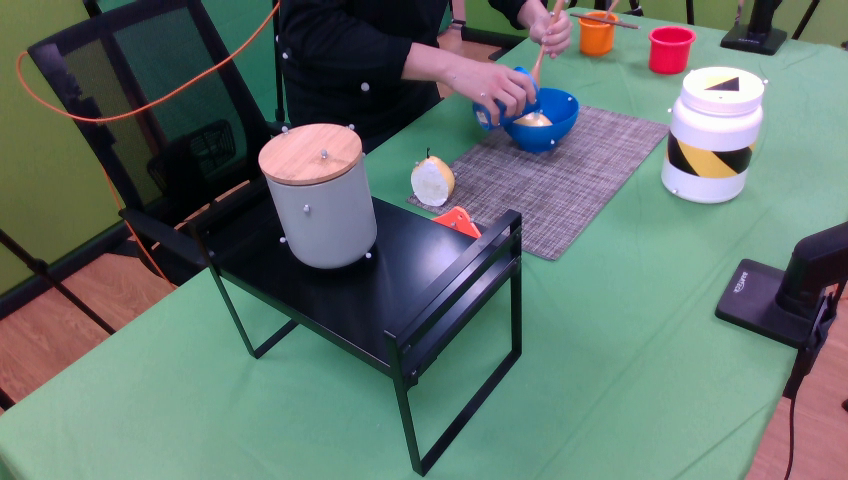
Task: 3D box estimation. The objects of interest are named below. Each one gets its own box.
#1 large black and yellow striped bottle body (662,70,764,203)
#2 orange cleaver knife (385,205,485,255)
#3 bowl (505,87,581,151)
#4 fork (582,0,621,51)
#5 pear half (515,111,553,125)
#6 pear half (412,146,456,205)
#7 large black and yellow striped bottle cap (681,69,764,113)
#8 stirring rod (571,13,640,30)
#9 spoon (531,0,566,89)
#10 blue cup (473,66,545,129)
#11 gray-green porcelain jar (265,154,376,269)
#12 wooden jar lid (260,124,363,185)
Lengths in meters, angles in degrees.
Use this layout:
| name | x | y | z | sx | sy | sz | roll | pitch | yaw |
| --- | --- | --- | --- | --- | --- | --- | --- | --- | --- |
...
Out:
| name | x | y | z | sx | sy | sz | roll | pitch | yaw |
| --- | --- | --- | --- | --- | --- | --- | --- | --- | --- |
| large black and yellow striped bottle body | 0.464 | -0.166 | 0.976 | 0.131 | 0.185 | 0.130 | -5 | 41 | 5 |
| orange cleaver knife | 0.012 | -0.010 | 0.942 | 0.012 | 0.077 | 0.210 | -36 | 19 | -35 |
| bowl | 0.220 | -0.223 | 1.155 | 0.151 | 0.077 | 0.150 | -4 | 40 | 4 |
| fork | 0.446 | -0.538 | 1.438 | 0.207 | 0.019 | 0.028 | -57 | 36 | 12 |
| pear half | 0.214 | -0.226 | 1.148 | 0.088 | 0.031 | 0.070 | 12 | 49 | 14 |
| pear half | 0.019 | -0.120 | 1.042 | 0.076 | 0.110 | 0.056 | 11 | 44 | 16 |
| large black and yellow striped bottle cap | 0.453 | -0.229 | 0.921 | 0.115 | 0.019 | 0.114 | -4 | 39 | 4 |
| stirring rod | 0.419 | -0.508 | 1.404 | 0.174 | 0.006 | 0.014 | 28 | 55 | 35 |
| spoon | 0.209 | -0.327 | 1.068 | 0.041 | 0.193 | 0.021 | 19 | 15 | 6 |
| blue cup | 0.144 | -0.245 | 1.069 | 0.100 | 0.093 | 0.092 | -31 | 45 | -11 |
| gray-green porcelain jar | -0.112 | -0.039 | 0.686 | 0.106 | 0.127 | 0.105 | -4 | 40 | 4 |
| wooden jar lid | -0.119 | -0.088 | 0.645 | 0.108 | 0.021 | 0.108 | -4 | 40 | 4 |
